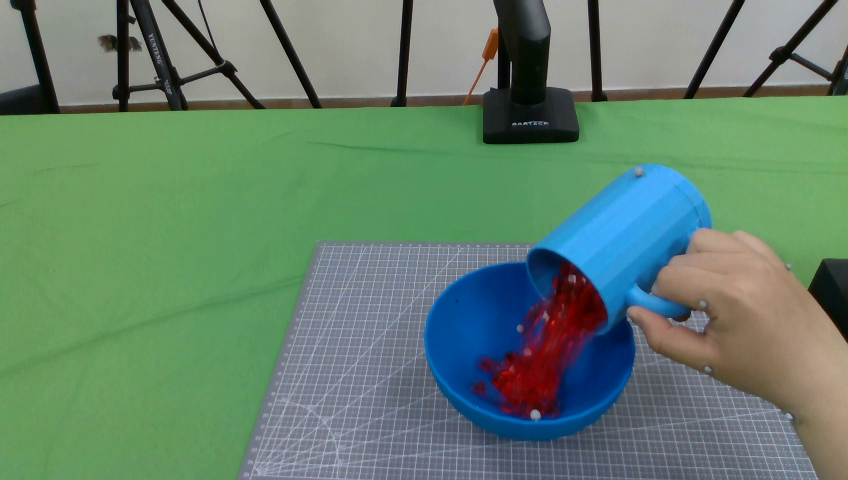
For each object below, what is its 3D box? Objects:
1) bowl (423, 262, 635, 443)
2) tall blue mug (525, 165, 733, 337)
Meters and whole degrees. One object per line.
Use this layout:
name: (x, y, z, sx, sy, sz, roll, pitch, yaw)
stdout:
bowl: (0.076, 0.095, 0.459, 0.151, 0.077, 0.150, -2, 41, 2)
tall blue mug: (0.143, 0.006, 0.416, 0.108, 0.078, 0.107, -35, 9, -20)
